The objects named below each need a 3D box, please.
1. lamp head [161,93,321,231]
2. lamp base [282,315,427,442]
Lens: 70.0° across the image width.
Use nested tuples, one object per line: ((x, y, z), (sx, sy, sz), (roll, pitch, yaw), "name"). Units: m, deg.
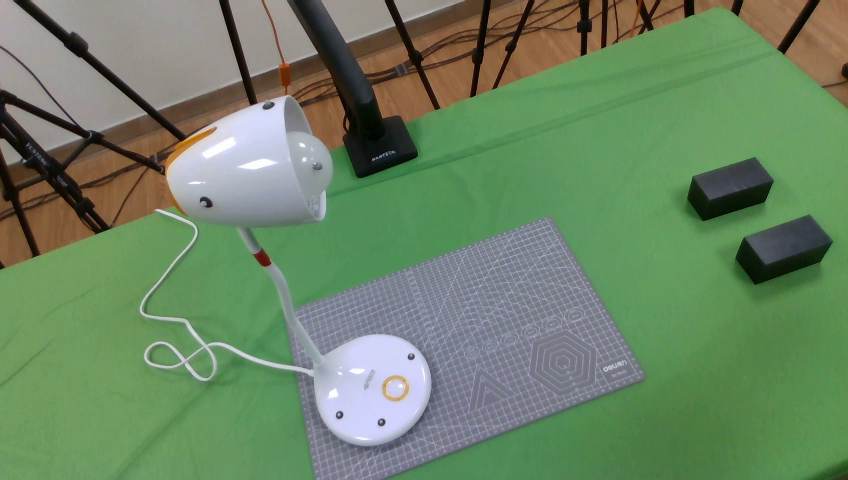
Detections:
((-0.160, -0.058, 0.532), (0.123, 0.113, 0.111), (-16, 53, 7), "lamp head")
((-0.100, 0.154, 0.776), (0.178, 0.182, 0.159), (1, 55, 16), "lamp base")
